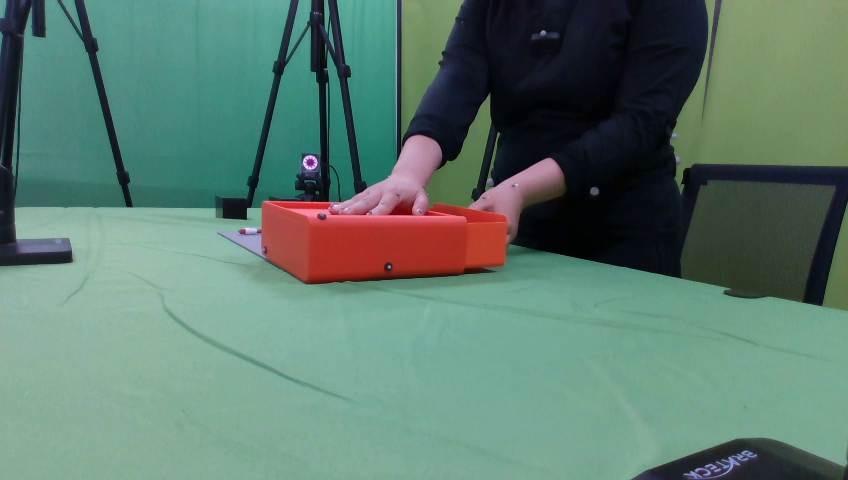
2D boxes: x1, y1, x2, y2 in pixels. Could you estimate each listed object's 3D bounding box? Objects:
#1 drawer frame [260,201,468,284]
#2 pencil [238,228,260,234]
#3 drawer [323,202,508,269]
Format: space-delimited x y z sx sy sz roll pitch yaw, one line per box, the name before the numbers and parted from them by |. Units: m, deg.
drawer frame | -0.083 -0.004 0.794 0.215 0.082 0.200 -2 10 -30
pencil | -0.241 -0.015 1.106 0.195 0.012 0.012 1 7 -30
drawer | -0.026 -0.008 0.829 0.213 0.073 0.193 -3 11 -30
